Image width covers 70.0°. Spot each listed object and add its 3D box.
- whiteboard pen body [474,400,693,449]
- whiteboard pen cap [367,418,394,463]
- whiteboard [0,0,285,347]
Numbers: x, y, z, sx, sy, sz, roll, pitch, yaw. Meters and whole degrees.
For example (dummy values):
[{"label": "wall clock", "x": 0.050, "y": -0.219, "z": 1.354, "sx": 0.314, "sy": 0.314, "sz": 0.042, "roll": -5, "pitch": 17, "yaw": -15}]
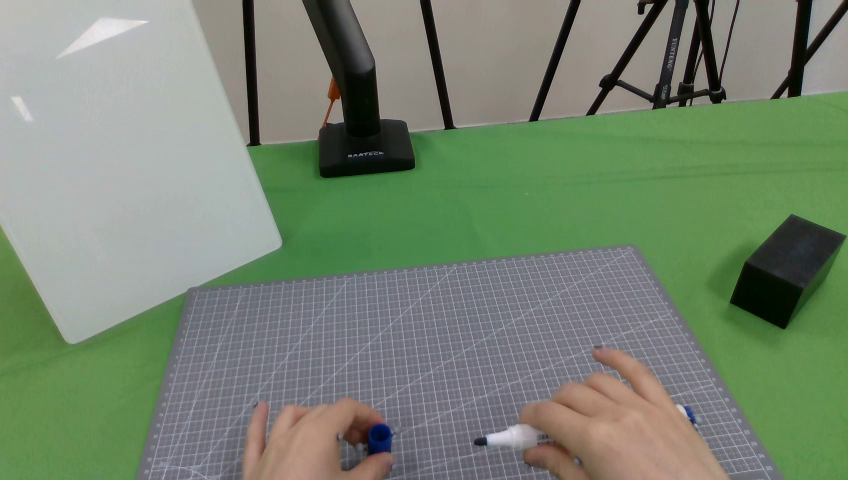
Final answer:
[{"label": "whiteboard pen body", "x": 0.099, "y": 0.115, "z": 0.374, "sx": 0.141, "sy": 0.017, "sz": 0.017, "roll": -5, "pitch": 38, "yaw": -9}, {"label": "whiteboard pen cap", "x": -0.030, "y": 0.136, "z": 0.415, "sx": 0.018, "sy": 0.033, "sz": 0.018, "roll": 5, "pitch": 35, "yaw": -3}, {"label": "whiteboard", "x": -0.306, "y": -0.097, "z": 0.583, "sx": 0.217, "sy": 0.307, "sz": 0.142, "roll": -29, "pitch": 26, "yaw": -29}]
